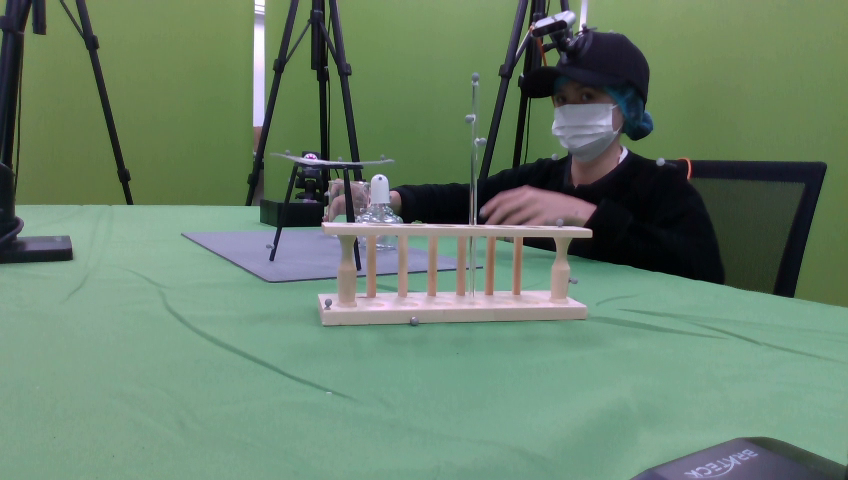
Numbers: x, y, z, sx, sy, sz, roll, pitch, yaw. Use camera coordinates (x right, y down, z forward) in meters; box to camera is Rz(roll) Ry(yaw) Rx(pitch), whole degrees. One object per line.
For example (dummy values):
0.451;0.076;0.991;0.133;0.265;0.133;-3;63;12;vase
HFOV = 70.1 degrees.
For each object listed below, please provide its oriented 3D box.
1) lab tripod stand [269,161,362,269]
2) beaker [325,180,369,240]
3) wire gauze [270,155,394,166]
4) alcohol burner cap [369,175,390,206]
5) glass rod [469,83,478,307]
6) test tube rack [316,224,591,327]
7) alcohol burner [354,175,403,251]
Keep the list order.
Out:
-0.125;-0.036;0.794;0.148;0.131;0.148;5;7;0;lab tripod stand
-0.133;-0.052;1.058;0.074;0.100;0.083;-3;10;-35;beaker
-0.122;-0.102;0.785;0.122;0.011;0.124;-3;10;-39;wire gauze
-0.069;-0.077;0.939;0.034;0.048;0.034;-1;6;0;alcohol burner cap
0.043;-0.033;0.523;0.008;0.199;0.008;-1;14;1;glass rod
0.026;0.028;0.555;0.243;0.085;0.066;1;7;-14;test tube rack
-0.072;-0.042;0.944;0.078;0.119;0.078;1;9;0;alcohol burner
